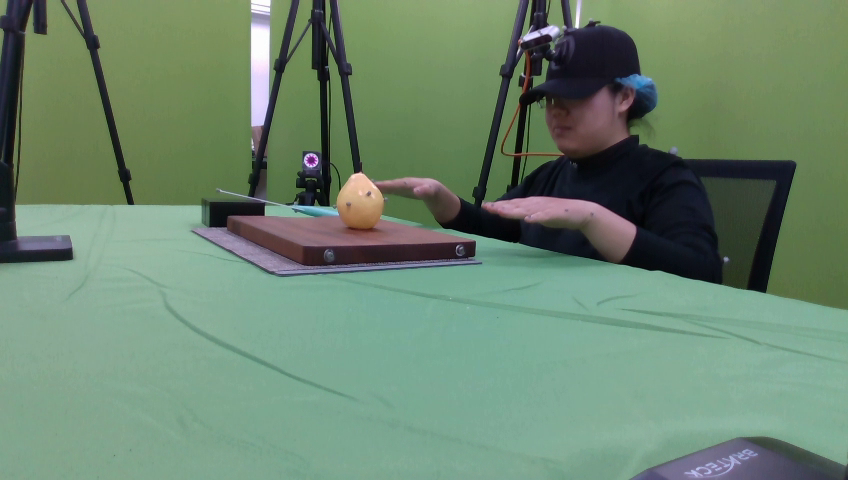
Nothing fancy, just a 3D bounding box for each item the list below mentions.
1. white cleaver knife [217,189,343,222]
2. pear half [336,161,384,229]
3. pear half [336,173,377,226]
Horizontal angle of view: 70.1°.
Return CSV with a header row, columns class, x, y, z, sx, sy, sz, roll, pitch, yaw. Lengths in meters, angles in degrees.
class,x,y,z,sx,sy,sz,roll,pitch,yaw
white cleaver knife,-0.275,-0.066,1.233,0.288,0.021,0.065,11,6,-29
pear half,-0.099,-0.072,0.972,0.077,0.110,0.055,-7,11,-31
pear half,-0.116,-0.067,1.004,0.071,0.088,0.031,-11,13,-31
